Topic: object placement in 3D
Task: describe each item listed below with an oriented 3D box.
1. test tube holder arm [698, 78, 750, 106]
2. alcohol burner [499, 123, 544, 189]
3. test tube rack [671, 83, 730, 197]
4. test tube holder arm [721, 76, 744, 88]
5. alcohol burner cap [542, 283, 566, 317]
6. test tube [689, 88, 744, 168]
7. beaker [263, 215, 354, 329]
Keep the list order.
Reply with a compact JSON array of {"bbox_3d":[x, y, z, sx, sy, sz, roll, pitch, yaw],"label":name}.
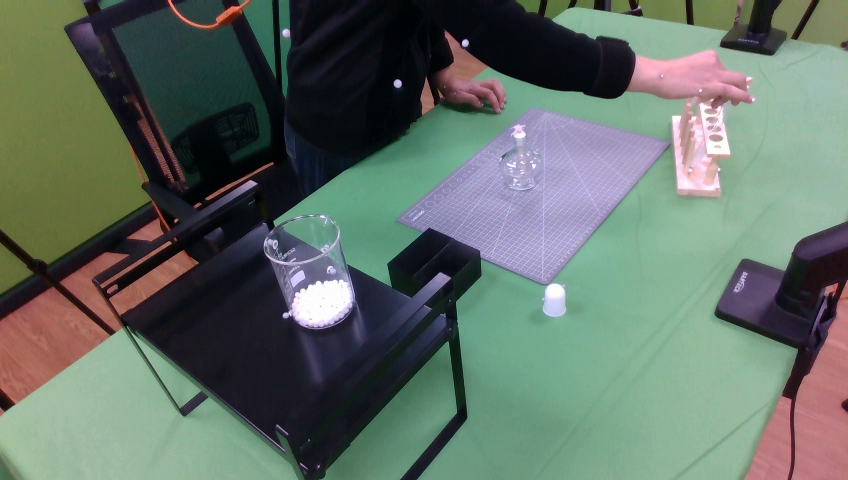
[{"bbox_3d":[0.461,-0.228,0.924,0.013,0.015,0.179,25,37,36],"label":"test tube holder arm"},{"bbox_3d":[0.169,-0.149,1.048,0.078,0.119,0.077,-6,41,5],"label":"alcohol burner"},{"bbox_3d":[0.482,-0.184,1.067,0.066,0.085,0.242,5,42,15],"label":"test tube rack"},{"bbox_3d":[0.487,-0.245,0.957,0.010,0.015,0.088,23,35,33],"label":"test tube holder arm"},{"bbox_3d":[0.182,0.081,0.839,0.034,0.048,0.033,-4,41,4],"label":"alcohol burner cap"},{"bbox_3d":[0.482,-0.187,1.006,0.017,0.150,0.017,20,25,-9],"label":"test tube"},{"bbox_3d":[-0.112,0.034,0.616,0.073,0.101,0.084,13,44,22],"label":"beaker"}]
